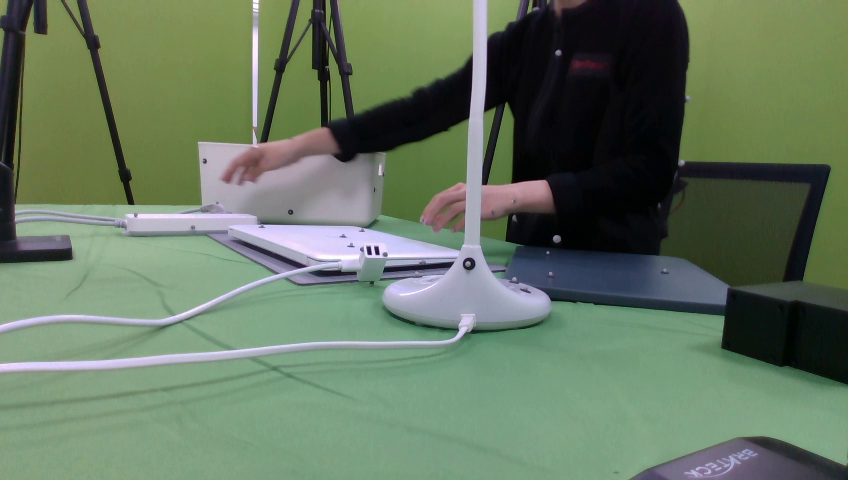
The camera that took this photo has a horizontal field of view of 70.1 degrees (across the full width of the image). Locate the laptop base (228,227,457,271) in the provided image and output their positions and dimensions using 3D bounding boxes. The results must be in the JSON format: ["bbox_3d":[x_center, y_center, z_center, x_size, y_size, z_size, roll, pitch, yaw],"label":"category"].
[{"bbox_3d":[-0.122,0.011,0.889,0.237,0.023,0.352,2,6,-35],"label":"laptop base"}]

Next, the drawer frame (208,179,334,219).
[{"bbox_3d":[-0.326,-0.093,1.328,0.213,0.082,0.202,-1,5,6],"label":"drawer frame"}]

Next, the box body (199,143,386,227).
[{"bbox_3d":[-0.276,-0.124,1.335,0.364,0.160,0.254,3,7,1],"label":"box body"}]

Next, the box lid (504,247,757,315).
[{"bbox_3d":[0.244,0.044,0.793,0.263,0.015,0.372,4,7,10],"label":"box lid"}]

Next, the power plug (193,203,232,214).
[{"bbox_3d":[-0.394,-0.042,1.139,0.072,0.052,0.035,-14,1,31],"label":"power plug"}]

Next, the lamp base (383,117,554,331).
[{"bbox_3d":[0.045,-0.019,0.547,0.161,0.180,0.179,2,10,-4],"label":"lamp base"}]

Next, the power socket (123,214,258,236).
[{"bbox_3d":[-0.398,-0.028,1.049,0.228,0.032,0.072,-3,8,-34],"label":"power socket"}]

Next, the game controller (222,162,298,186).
[{"bbox_3d":[-0.357,-0.143,1.322,0.156,0.051,0.097,1,2,-16],"label":"game controller"}]

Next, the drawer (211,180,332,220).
[{"bbox_3d":[-0.328,-0.094,1.332,0.212,0.073,0.194,5,8,6],"label":"drawer"}]

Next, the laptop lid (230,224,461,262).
[{"bbox_3d":[-0.119,0.000,0.889,0.243,0.013,0.355,1,7,-33],"label":"laptop lid"}]

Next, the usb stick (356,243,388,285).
[{"bbox_3d":[-0.058,0.029,0.658,0.027,0.059,0.021,-4,53,-18],"label":"usb stick"}]
